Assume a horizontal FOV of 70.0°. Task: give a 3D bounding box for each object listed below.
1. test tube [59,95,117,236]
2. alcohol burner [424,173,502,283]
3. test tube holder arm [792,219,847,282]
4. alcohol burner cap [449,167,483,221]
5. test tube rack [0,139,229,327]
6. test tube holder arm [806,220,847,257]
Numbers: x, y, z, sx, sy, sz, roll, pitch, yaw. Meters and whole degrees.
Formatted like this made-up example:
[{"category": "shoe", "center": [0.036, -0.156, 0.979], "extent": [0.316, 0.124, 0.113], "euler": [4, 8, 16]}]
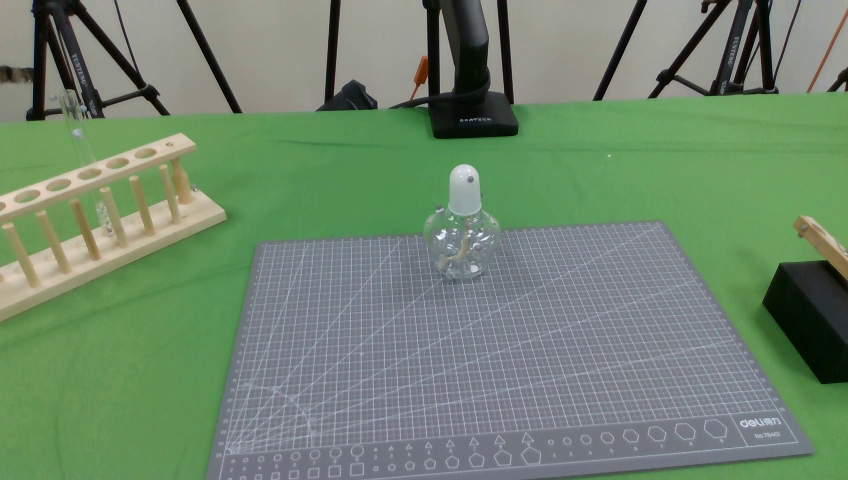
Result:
[{"category": "test tube", "center": [-0.331, -0.070, 0.603], "extent": [0.017, 0.151, 0.017], "euler": [-1, 32, 1]}, {"category": "alcohol burner", "center": [0.038, -0.017, 0.588], "extent": [0.078, 0.120, 0.077], "euler": [1, 39, 0]}, {"category": "test tube holder arm", "center": [0.369, 0.011, 0.553], "extent": [0.010, 0.015, 0.087], "euler": [0, 38, -12]}, {"category": "alcohol burner cap", "center": [0.039, -0.046, 0.566], "extent": [0.034, 0.048, 0.033], "euler": [-1, 42, 1]}, {"category": "test tube rack", "center": [-0.331, -0.015, 0.613], "extent": [0.242, 0.086, 0.066], "euler": [-30, 47, -33]}, {"category": "test tube holder arm", "center": [0.382, 0.039, 0.520], "extent": [0.013, 0.015, 0.176], "euler": [-1, 38, -12]}]
